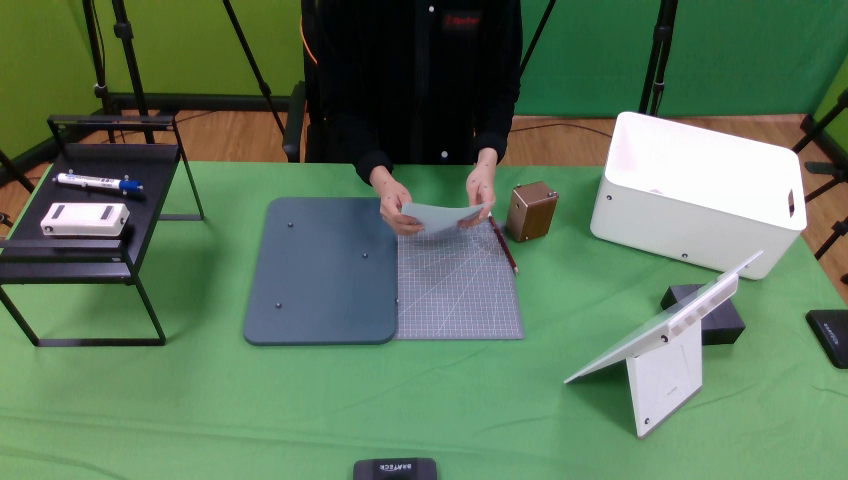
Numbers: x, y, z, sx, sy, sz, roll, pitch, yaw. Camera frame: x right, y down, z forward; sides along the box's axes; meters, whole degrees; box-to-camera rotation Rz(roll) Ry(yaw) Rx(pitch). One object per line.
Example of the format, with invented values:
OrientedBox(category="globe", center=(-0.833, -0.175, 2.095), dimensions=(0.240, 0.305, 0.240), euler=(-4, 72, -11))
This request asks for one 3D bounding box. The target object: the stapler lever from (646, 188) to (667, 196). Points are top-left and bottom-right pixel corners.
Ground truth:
OrientedBox(category="stapler lever", center=(0.507, -0.075, 1.262), dimensions=(0.027, 0.040, 0.117), euler=(-14, 46, -19))

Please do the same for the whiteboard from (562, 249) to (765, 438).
OrientedBox(category="whiteboard", center=(0.386, 0.175, 0.905), dimensions=(0.217, 0.306, 0.143), euler=(-26, 72, -26))

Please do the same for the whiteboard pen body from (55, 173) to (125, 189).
OrientedBox(category="whiteboard pen body", center=(-0.539, -0.095, 0.998), dimensions=(0.141, 0.017, 0.017), euler=(6, 46, 6))

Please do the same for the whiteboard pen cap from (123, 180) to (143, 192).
OrientedBox(category="whiteboard pen cap", center=(-0.479, -0.089, 0.993), dimensions=(0.033, 0.018, 0.018), euler=(7, 46, 14))

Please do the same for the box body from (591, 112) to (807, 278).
OrientedBox(category="box body", center=(0.540, -0.092, 1.230), dimensions=(0.363, 0.161, 0.253), euler=(16, 47, 11))

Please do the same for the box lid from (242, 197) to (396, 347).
OrientedBox(category="box lid", center=(-0.186, 0.046, 1.147), dimensions=(0.263, 0.015, 0.369), euler=(0, 46, -3))

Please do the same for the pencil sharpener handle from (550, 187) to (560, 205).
OrientedBox(category="pencil sharpener handle", center=(0.261, -0.084, 1.221), dimensions=(0.031, 0.068, 0.036), euler=(-16, 66, -19))

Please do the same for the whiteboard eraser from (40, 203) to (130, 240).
OrientedBox(category="whiteboard eraser", center=(-0.513, -0.028, 0.922), dimensions=(0.113, 0.042, 0.055), euler=(1, 48, -3))

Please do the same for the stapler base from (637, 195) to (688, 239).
OrientedBox(category="stapler base", center=(0.507, -0.055, 1.280), dimensions=(0.041, 0.024, 0.129), euler=(-14, 47, -19))

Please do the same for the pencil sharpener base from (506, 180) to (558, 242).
OrientedBox(category="pencil sharpener base", center=(0.216, -0.058, 1.211), dimensions=(0.077, 0.107, 0.061), euler=(-16, 49, -19))

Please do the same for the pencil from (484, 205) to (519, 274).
OrientedBox(category="pencil", center=(0.156, -0.002, 1.217), dimensions=(0.012, 0.012, 0.192), euler=(-9, 48, -13))
